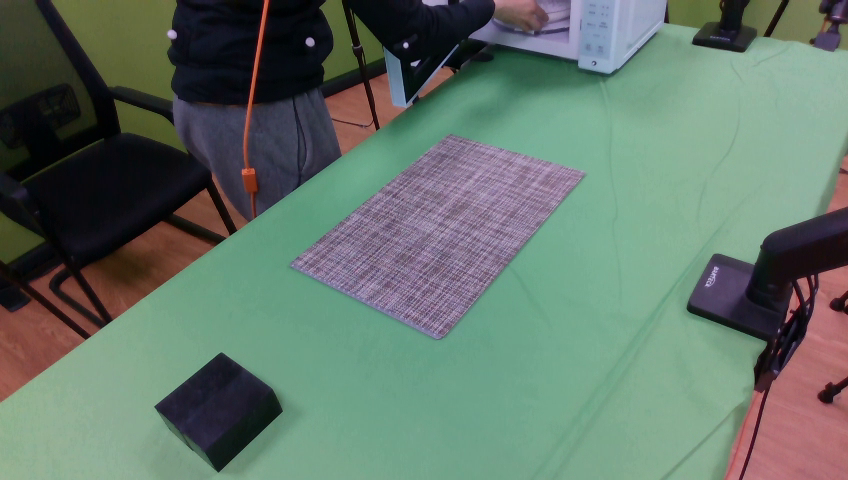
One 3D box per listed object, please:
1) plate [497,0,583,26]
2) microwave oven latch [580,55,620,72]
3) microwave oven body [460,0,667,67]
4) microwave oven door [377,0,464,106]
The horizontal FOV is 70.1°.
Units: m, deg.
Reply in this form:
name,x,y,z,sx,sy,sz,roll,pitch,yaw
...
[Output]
name,x,y,z,sx,sy,sz,roll,pitch,yaw
plate,0.285,-0.573,1.486,0.209,0.038,0.208,-5,40,4
microwave oven latch,0.386,-0.393,1.330,0.078,0.029,0.030,25,51,32
microwave oven body,0.324,-0.609,1.437,0.438,0.261,0.327,23,50,31
microwave oven door,0.003,-0.494,1.344,0.039,0.245,0.356,11,44,21
